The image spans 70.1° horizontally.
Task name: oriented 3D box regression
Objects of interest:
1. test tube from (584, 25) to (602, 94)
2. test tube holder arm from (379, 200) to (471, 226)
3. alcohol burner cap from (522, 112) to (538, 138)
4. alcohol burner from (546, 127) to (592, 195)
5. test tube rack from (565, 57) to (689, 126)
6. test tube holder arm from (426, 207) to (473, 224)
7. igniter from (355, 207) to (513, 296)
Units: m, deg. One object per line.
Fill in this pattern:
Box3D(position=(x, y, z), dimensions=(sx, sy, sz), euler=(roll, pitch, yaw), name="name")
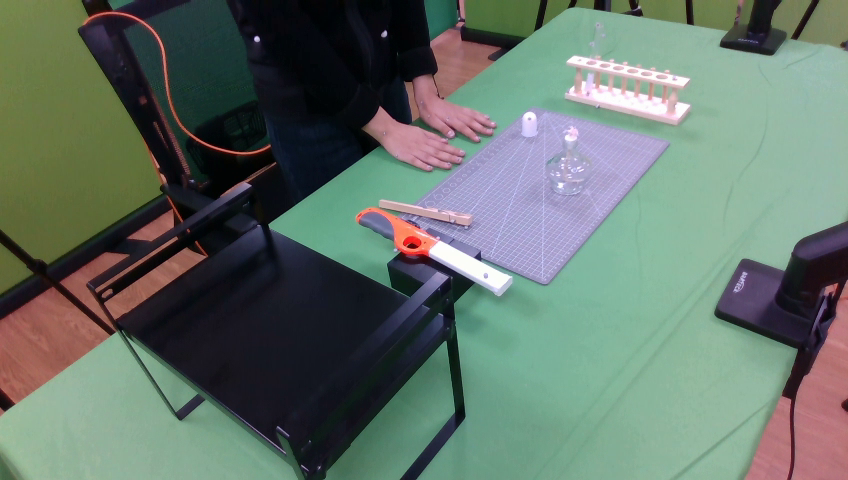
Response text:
Box3D(position=(0.341, -0.362, 1.224), dimensions=(0.017, 0.151, 0.017), euler=(-2, 45, 2), name="test tube")
Box3D(position=(-0.002, -0.048, 1.031), dimensions=(0.177, 0.015, 0.013), euler=(12, 21, 25), name="test tube holder arm")
Box3D(position=(0.210, -0.230, 1.195), dimensions=(0.034, 0.048, 0.033), euler=(-5, 42, 5), name="alcohol burner cap")
Box3D(position=(0.246, -0.137, 1.024), dimensions=(0.078, 0.119, 0.077), euler=(-4, 38, 4), name="alcohol burner")
Box3D(position=(0.412, -0.311, 1.230), dimensions=(0.240, 0.085, 0.067), euler=(23, 49, 32), name="test tube rack")
Box3D(position=(0.041, -0.041, 1.016), dimensions=(0.087, 0.015, 0.010), euler=(12, 21, 26), name="test tube holder arm")
Box3D(position=(0.006, 0.010, 0.885), dimensions=(0.274, 0.025, 0.057), euler=(27, 53, 30), name="igniter")
